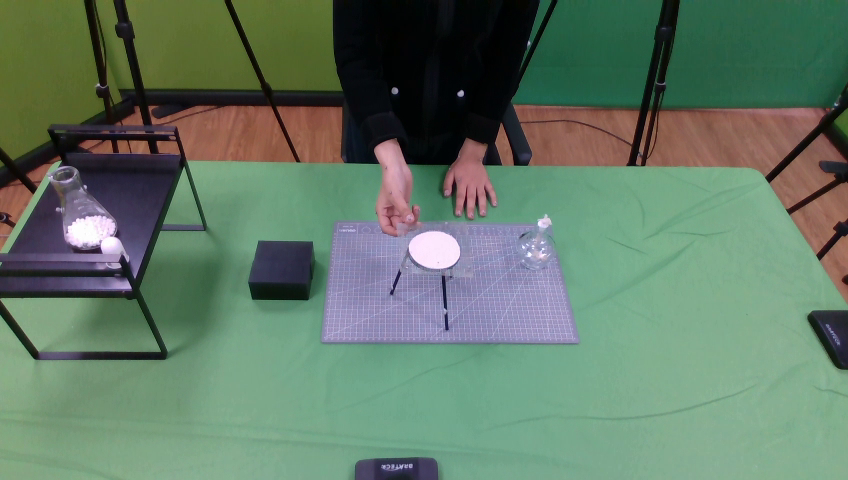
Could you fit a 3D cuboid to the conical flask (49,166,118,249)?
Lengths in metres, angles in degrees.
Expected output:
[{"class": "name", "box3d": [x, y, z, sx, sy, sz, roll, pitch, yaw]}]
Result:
[{"class": "conical flask", "box3d": [-0.505, -0.051, 0.888, 0.075, 0.122, 0.075, 2, 46, -2]}]

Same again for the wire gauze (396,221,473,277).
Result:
[{"class": "wire gauze", "box3d": [0.016, 0.012, 1.013, 0.125, 0.011, 0.120, 1, 47, -5]}]

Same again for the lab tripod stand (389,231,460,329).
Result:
[{"class": "lab tripod stand", "box3d": [0.015, 0.063, 1.058, 0.148, 0.132, 0.147, 4, 46, -3]}]

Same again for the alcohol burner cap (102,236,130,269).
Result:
[{"class": "alcohol burner cap", "box3d": [-0.452, 0.016, 0.883, 0.034, 0.048, 0.033, 3, 45, -2]}]

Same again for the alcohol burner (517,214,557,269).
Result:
[{"class": "alcohol burner", "box3d": [0.217, -0.002, 1.149, 0.078, 0.120, 0.077, 2, 44, -2]}]
